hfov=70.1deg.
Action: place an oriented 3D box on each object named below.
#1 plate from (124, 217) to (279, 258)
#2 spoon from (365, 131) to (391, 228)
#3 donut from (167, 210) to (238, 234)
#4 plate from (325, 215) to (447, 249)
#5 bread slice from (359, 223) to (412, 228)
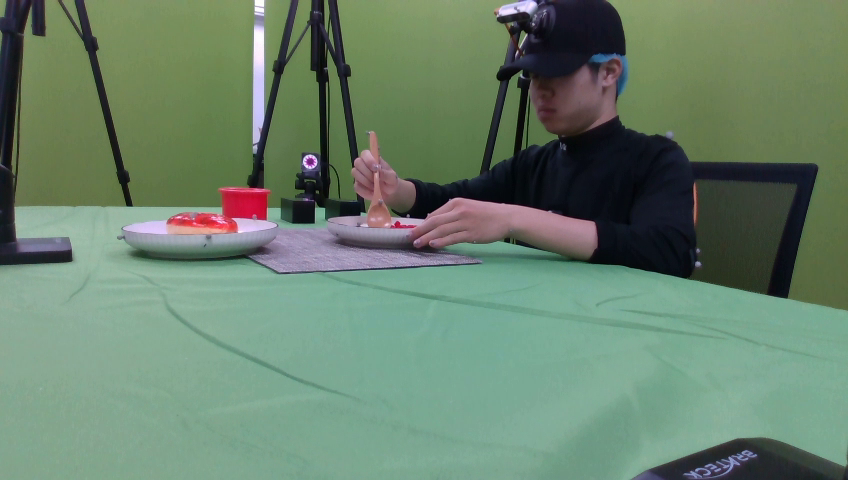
[{"bbox_3d":[-0.315,-0.004,0.871,0.208,0.039,0.207,1,8,0],"label":"plate"},{"bbox_3d":[-0.080,-0.100,1.002,0.042,0.193,0.021,-2,-19,-7],"label":"spoon"},{"bbox_3d":[-0.321,-0.017,0.882,0.099,0.048,0.099,3,6,0],"label":"donut"},{"bbox_3d":[-0.066,-0.015,1.035,0.209,0.038,0.209,3,8,0],"label":"plate"},{"bbox_3d":[-0.062,-0.012,1.035,0.105,0.019,0.131,0,10,-19],"label":"bread slice"}]
